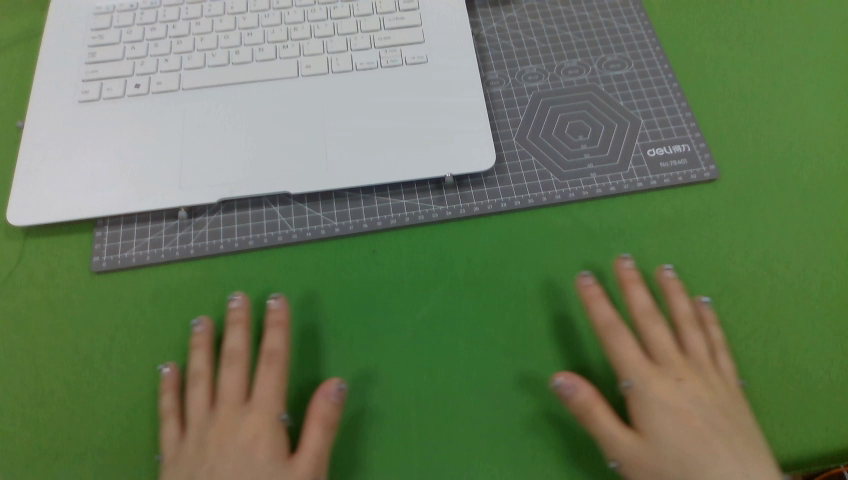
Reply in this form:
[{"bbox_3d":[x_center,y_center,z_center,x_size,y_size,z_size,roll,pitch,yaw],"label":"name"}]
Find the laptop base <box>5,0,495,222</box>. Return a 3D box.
[{"bbox_3d":[-0.135,-0.134,0.484,0.354,0.023,0.233,-7,67,-2],"label":"laptop base"}]
